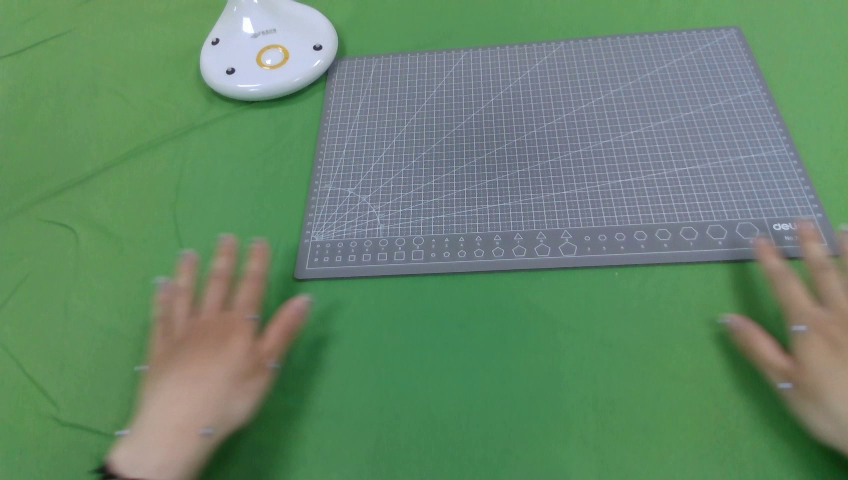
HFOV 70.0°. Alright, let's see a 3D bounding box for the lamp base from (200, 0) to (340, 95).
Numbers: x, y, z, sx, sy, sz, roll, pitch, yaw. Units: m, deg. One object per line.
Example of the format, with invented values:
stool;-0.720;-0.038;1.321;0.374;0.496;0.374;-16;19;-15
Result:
lamp base;-0.191;-0.276;0.640;0.161;0.182;0.177;-27;53;-12
